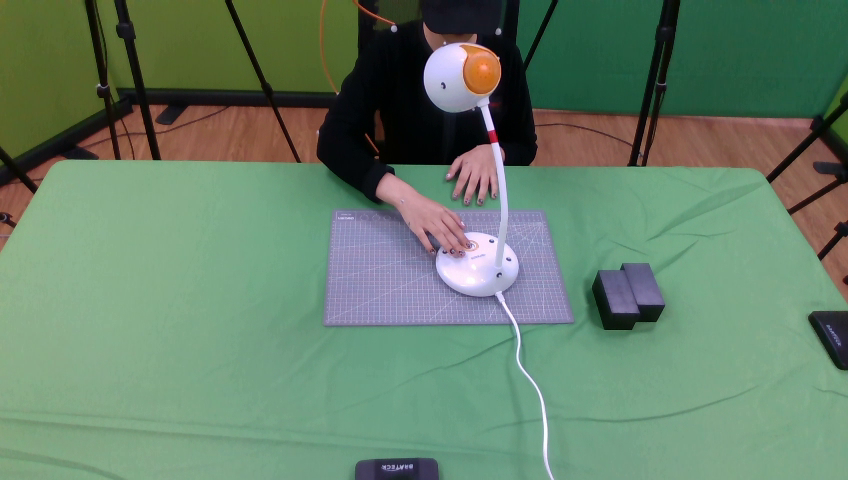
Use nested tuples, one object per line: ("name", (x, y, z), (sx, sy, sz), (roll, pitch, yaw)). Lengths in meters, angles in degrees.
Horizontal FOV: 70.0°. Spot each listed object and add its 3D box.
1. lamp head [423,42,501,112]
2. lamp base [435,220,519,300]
("lamp head", (0.070, -0.258, 0.962), (0.112, 0.113, 0.122), (-16, 19, -18))
("lamp base", (0.112, -0.002, 1.096), (0.161, 0.181, 0.178), (-22, 54, -23))
